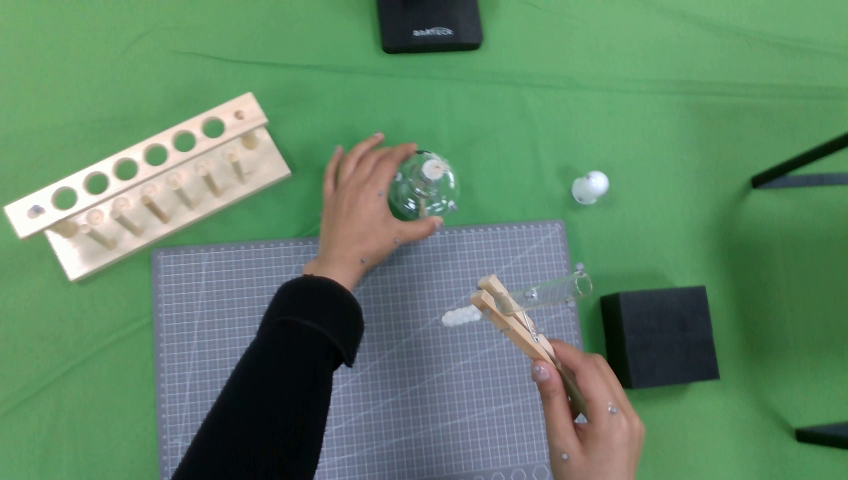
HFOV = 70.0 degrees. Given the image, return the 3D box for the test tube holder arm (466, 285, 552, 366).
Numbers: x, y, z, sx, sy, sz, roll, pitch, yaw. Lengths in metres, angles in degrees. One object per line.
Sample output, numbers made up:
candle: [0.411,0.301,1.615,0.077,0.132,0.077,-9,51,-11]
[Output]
test tube holder arm: [0.064,0.064,0.443,0.088,0.015,0.010,43,60,-21]

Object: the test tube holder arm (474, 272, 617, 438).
test tube holder arm: [0.096,0.091,0.461,0.179,0.015,0.013,49,58,-18]

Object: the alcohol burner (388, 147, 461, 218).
alcohol burner: [0.004,-0.064,0.629,0.078,0.119,0.077,2,79,-10]

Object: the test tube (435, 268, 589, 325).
test tube: [0.055,0.043,0.431,0.017,0.150,0.017,12,68,-33]

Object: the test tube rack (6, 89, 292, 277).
test tube rack: [-0.259,-0.055,0.601,0.242,0.085,0.066,-29,84,-12]

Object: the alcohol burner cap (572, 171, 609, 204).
alcohol burner cap: [0.193,-0.062,0.693,0.034,0.048,0.033,1,79,-7]
